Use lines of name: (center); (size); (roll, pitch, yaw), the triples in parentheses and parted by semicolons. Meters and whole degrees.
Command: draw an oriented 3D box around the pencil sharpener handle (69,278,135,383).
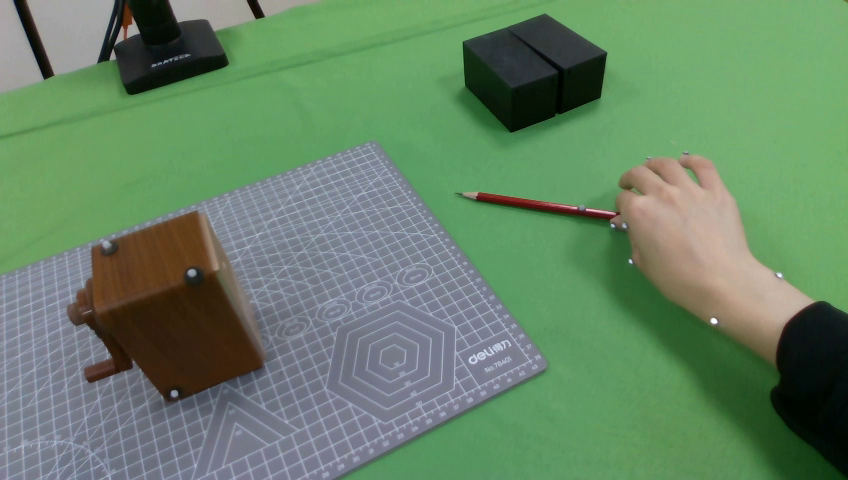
pencil sharpener handle: (-0.204, 0.058, 0.372); (0.031, 0.068, 0.035); (-21, 32, -12)

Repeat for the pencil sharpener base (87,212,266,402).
pencil sharpener base: (-0.158, 0.047, 0.396); (0.077, 0.108, 0.060); (-21, 48, -12)

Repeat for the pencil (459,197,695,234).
pencil: (0.121, -0.023, 0.505); (0.193, 0.012, 0.012); (9, 48, 18)
